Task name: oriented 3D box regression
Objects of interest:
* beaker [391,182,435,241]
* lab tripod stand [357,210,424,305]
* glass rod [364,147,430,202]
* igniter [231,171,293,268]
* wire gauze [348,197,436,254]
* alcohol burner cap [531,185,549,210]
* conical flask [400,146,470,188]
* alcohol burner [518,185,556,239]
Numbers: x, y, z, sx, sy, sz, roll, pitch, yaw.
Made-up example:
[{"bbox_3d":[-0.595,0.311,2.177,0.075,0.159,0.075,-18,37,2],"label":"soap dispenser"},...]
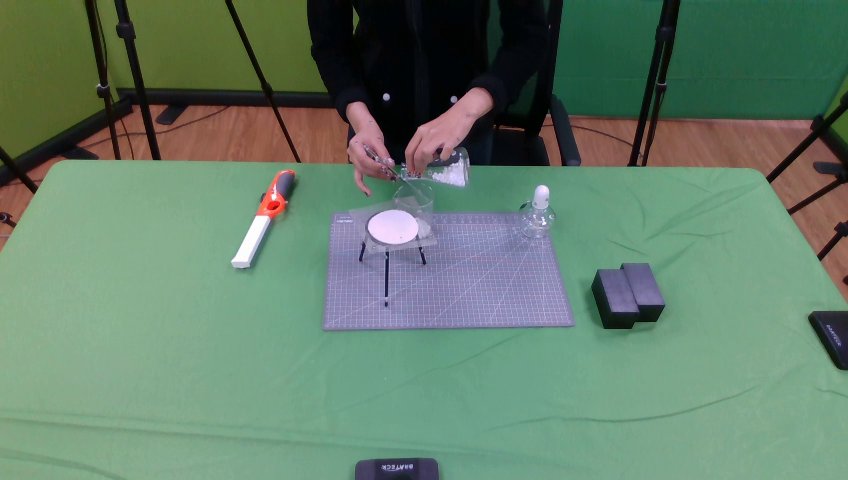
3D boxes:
[{"bbox_3d":[-0.023,-0.053,1.192,0.084,0.101,0.073,-2,46,-6],"label":"beaker"},{"bbox_3d":[-0.060,0.020,1.094,0.148,0.132,0.147,3,44,-2],"label":"lab tripod stand"},{"bbox_3d":[-0.045,-0.117,1.118,0.008,0.201,0.008,-19,54,29],"label":"glass rod"},{"bbox_3d":[-0.321,-0.051,1.220,0.057,0.025,0.275,1,45,11],"label":"igniter"},{"bbox_3d":[-0.056,-0.026,1.045,0.125,0.011,0.120,-12,47,-17],"label":"wire gauze"},{"bbox_3d":[0.228,-0.085,1.183,0.034,0.048,0.033,-1,48,2],"label":"alcohol burner cap"},{"bbox_3d":[0.018,-0.130,1.100,0.122,0.076,0.075,-2,44,15],"label":"conical flask"},{"bbox_3d":[0.227,-0.061,1.209,0.078,0.120,0.077,1,44,-1],"label":"alcohol burner"}]
